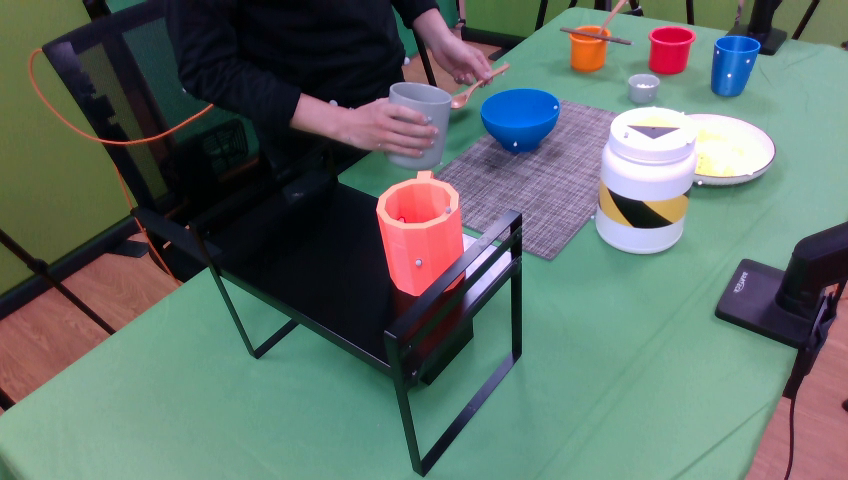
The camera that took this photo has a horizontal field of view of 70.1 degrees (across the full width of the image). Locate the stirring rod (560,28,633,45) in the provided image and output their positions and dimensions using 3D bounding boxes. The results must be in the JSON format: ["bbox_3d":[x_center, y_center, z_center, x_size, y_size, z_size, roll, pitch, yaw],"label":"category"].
[{"bbox_3d":[0.381,-0.452,1.344,0.174,0.006,0.014,25,49,33],"label":"stirring rod"}]

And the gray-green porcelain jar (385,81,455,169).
[{"bbox_3d":[-0.010,-0.192,1.029,0.106,0.126,0.105,8,29,-4],"label":"gray-green porcelain jar"}]

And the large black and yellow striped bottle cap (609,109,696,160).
[{"bbox_3d":[0.319,-0.150,0.849,0.115,0.019,0.114,-4,39,3],"label":"large black and yellow striped bottle cap"}]

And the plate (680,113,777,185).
[{"bbox_3d":[0.506,-0.158,1.073,0.209,0.038,0.208,-4,40,4],"label":"plate"}]

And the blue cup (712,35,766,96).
[{"bbox_3d":[0.627,-0.350,1.227,0.092,0.100,0.092,-4,39,4],"label":"blue cup"}]

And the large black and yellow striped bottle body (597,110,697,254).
[{"bbox_3d":[0.331,-0.086,0.904,0.131,0.185,0.130,-5,41,4],"label":"large black and yellow striped bottle body"}]

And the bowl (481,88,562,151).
[{"bbox_3d":[0.187,-0.223,1.161,0.151,0.077,0.150,-4,40,4],"label":"bowl"}]

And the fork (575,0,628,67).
[{"bbox_3d":[0.413,-0.481,1.377,0.207,0.019,0.028,-56,42,12],"label":"fork"}]

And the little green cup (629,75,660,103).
[{"bbox_3d":[0.457,-0.314,1.260,0.061,0.039,0.061,-4,40,4],"label":"little green cup"}]

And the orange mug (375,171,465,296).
[{"bbox_3d":[0.000,-0.016,0.661,0.083,0.101,0.125,-2,45,8],"label":"orange mug"}]

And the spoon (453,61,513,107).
[{"bbox_3d":[0.116,-0.320,1.232,0.194,0.022,0.041,-40,51,-20],"label":"spoon"}]

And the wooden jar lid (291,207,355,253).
[{"bbox_3d":[-0.169,-0.015,1.026,0.108,0.021,0.108,-4,40,4],"label":"wooden jar lid"}]
